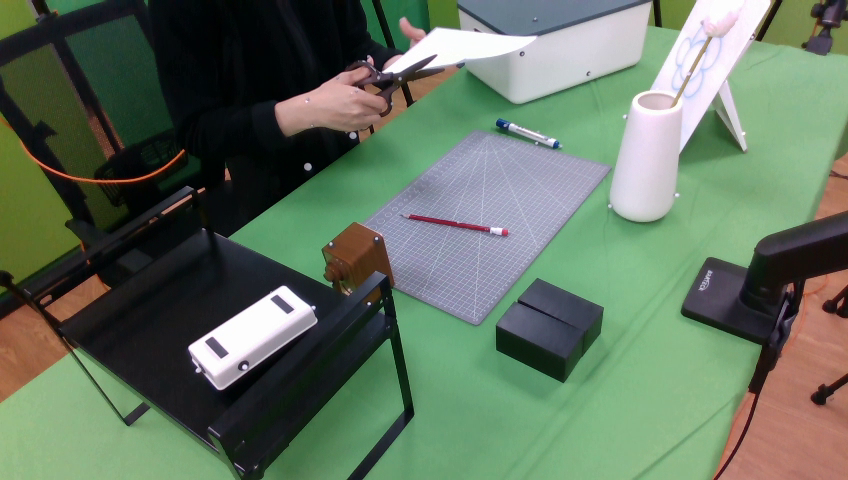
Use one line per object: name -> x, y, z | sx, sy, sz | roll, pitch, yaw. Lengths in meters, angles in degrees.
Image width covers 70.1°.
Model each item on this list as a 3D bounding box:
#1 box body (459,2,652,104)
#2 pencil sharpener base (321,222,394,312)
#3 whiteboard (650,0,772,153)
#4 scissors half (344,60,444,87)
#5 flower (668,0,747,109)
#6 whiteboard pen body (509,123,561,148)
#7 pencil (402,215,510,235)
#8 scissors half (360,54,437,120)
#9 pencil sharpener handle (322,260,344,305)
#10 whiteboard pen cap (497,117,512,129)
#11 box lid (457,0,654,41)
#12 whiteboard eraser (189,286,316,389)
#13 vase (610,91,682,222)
box body -> 0.291, -0.465, 1.371 | 0.365, 0.161, 0.252 | -22, 42, -16
pencil sharpener base -> -0.096, 0.041, 0.873 | 0.061, 0.107, 0.077 | 25, 53, 32
whiteboard -> 0.543, -0.298, 1.076 | 0.144, 0.305, 0.216 | 12, 40, -7
scissors half -> -0.048, -0.251, 0.906 | 0.174, 0.040, 0.013 | 6, 40, 26
flower -> 0.354, -0.187, 0.879 | 0.038, 0.362, 0.044 | 30, 48, 14
whiteboard pen body -> 0.209, -0.212, 1.195 | 0.139, 0.017, 0.017 | 30, 52, 33
pencil -> 0.049, -0.027, 1.007 | 0.193, 0.012, 0.012 | 10, 43, 21
scissors half -> -0.038, -0.232, 0.915 | 0.174, 0.040, 0.013 | -32, 13, 43
pencil sharpener handle -> -0.131, 0.061, 0.839 | 0.035, 0.068, 0.031 | 29, 56, 27
whiteboard pen cap -> 0.165, -0.235, 1.226 | 0.033, 0.018, 0.018 | 32, 53, 31
box lid -> 0.285, -0.522, 1.323 | 0.373, 0.015, 0.261 | -22, 43, -16
whiteboard eraser -> -0.166, 0.096, 0.593 | 0.113, 0.042, 0.055 | -36, 47, -29
vase -> 0.348, -0.125, 0.935 | 0.098, 0.201, 0.097 | -3, 40, 3
